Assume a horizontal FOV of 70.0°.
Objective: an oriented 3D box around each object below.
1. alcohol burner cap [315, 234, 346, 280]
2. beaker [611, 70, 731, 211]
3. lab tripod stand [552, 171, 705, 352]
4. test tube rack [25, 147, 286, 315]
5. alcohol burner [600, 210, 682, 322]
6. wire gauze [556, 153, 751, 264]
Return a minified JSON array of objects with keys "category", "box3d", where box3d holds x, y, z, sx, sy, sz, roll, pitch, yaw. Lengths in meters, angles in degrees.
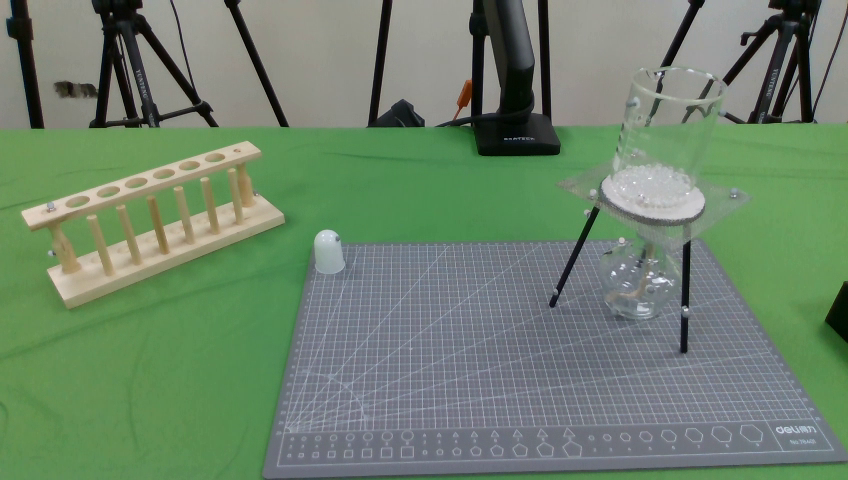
[{"category":"alcohol burner cap","box3d":[-0.101,0.015,0.647,0.034,0.048,0.033,1,36,0]},{"category":"beaker","box3d":[0.199,-0.084,0.508,0.074,0.101,0.083,-5,36,-8]},{"category":"lab tripod stand","box3d":[0.203,0.015,0.567,0.148,0.132,0.147,2,35,-1]},{"category":"test tube rack","box3d":[-0.279,-0.018,0.662,0.243,0.086,0.066,-26,42,-32]},{"category":"alcohol burner","box3d":[0.211,0.020,0.578,0.078,0.120,0.077,1,37,0]},{"category":"wire gauze","box3d":[0.199,-0.038,0.528,0.121,0.011,0.124,-25,46,-29]}]
